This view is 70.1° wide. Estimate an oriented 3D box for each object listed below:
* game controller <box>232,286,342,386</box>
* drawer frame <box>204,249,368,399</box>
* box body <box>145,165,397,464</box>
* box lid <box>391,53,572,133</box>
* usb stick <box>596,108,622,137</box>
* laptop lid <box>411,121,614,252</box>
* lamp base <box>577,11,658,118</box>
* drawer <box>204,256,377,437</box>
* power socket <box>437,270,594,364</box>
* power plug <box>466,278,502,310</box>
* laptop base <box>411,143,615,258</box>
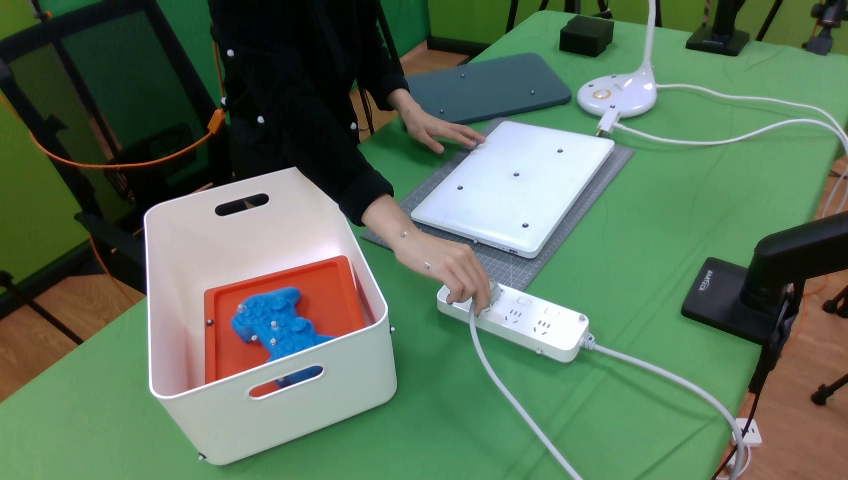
[{"bbox_3d":[-0.167,0.109,0.734,0.097,0.052,0.154,-35,47,-21],"label":"game controller"},{"bbox_3d":[-0.174,0.129,0.791,0.202,0.083,0.212,-16,45,-8],"label":"drawer frame"},{"bbox_3d":[-0.205,0.080,0.802,0.255,0.161,0.361,-18,41,-13],"label":"box body"},{"bbox_3d":[0.123,-0.339,1.366,0.372,0.015,0.261,-12,40,-5],"label":"box lid"},{"bbox_3d":[0.354,-0.223,1.168,0.027,0.059,0.022,37,13,34],"label":"usb stick"},{"bbox_3d":[0.164,-0.112,1.068,0.240,0.013,0.357,19,46,30],"label":"laptop lid"},{"bbox_3d":[0.406,-0.363,1.222,0.180,0.181,0.159,-20,42,-18],"label":"lamp base"},{"bbox_3d":[-0.179,0.130,0.787,0.195,0.073,0.210,-13,39,-10],"label":"drawer"},{"bbox_3d":[0.118,0.102,0.830,0.225,0.033,0.072,20,48,28],"label":"power socket"},{"bbox_3d":[0.071,0.077,0.797,0.073,0.053,0.035,-30,54,-27],"label":"power plug"},{"bbox_3d":[0.167,-0.102,1.074,0.234,0.023,0.355,16,45,30],"label":"laptop base"}]
